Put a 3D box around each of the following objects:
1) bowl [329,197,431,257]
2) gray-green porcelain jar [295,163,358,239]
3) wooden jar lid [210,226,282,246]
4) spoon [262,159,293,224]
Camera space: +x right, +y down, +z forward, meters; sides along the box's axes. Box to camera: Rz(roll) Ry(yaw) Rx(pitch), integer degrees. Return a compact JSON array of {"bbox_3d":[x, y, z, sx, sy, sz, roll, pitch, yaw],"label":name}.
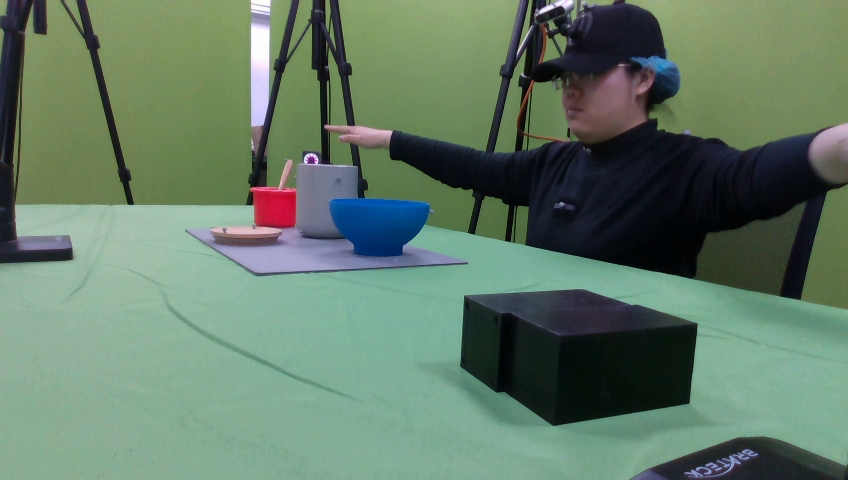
[{"bbox_3d":[-0.067,-0.019,0.895,0.151,0.077,0.151,3,7,0],"label":"bowl"},{"bbox_3d":[-0.170,-0.069,1.054,0.106,0.126,0.106,3,7,0],"label":"gray-green porcelain jar"},{"bbox_3d":[-0.279,-0.007,0.951,0.108,0.020,0.108,2,8,0],"label":"wooden jar lid"},{"bbox_3d":[-0.290,-0.102,1.227,0.041,0.021,0.193,3,51,3],"label":"spoon"}]
